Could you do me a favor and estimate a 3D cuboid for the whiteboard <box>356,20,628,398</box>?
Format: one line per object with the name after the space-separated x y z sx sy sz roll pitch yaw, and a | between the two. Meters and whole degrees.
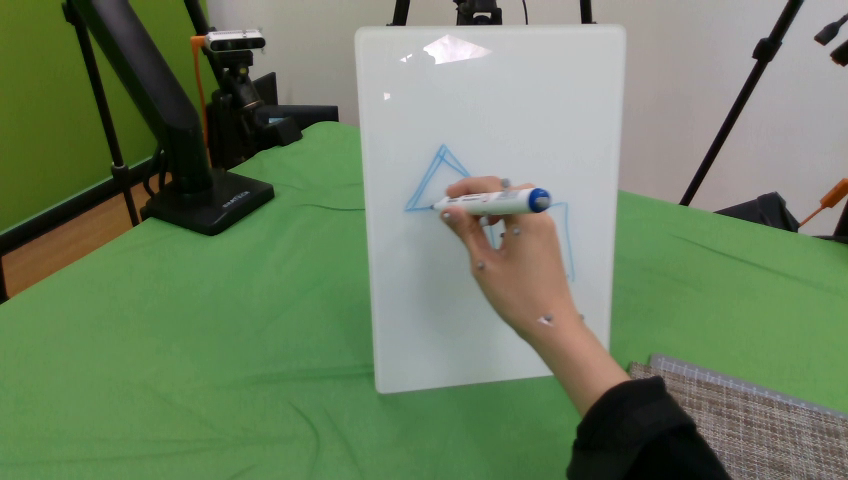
0.050 -0.035 0.565 0.218 0.307 0.143 -4 15 -9 | whiteboard

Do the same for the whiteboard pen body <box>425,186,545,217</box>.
0.035 -0.025 0.422 0.017 0.017 0.140 -18 9 -27 | whiteboard pen body
